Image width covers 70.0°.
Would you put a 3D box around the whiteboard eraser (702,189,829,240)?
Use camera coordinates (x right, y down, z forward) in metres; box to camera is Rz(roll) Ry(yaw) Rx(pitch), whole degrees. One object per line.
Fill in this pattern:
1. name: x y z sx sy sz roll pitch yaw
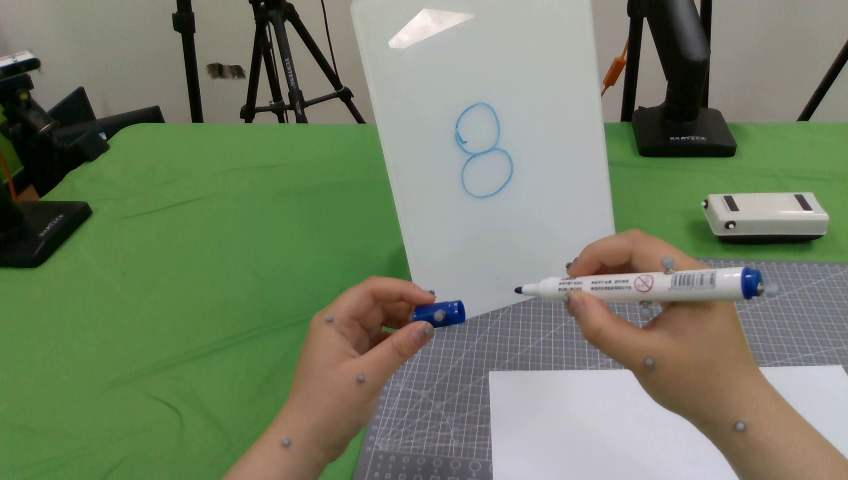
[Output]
1. whiteboard eraser: 0.363 -0.027 0.649 0.112 0.042 0.055 0 40 7

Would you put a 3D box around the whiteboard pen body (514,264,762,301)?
1. whiteboard pen body: 0.105 0.024 0.327 0.140 0.017 0.017 -7 28 45

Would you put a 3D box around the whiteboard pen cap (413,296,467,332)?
1. whiteboard pen cap: 0.011 0.047 0.394 0.033 0.018 0.018 -22 34 20

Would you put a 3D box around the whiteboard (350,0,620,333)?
1. whiteboard: 0.054 -0.099 0.616 0.217 0.307 0.142 -16 19 -12
